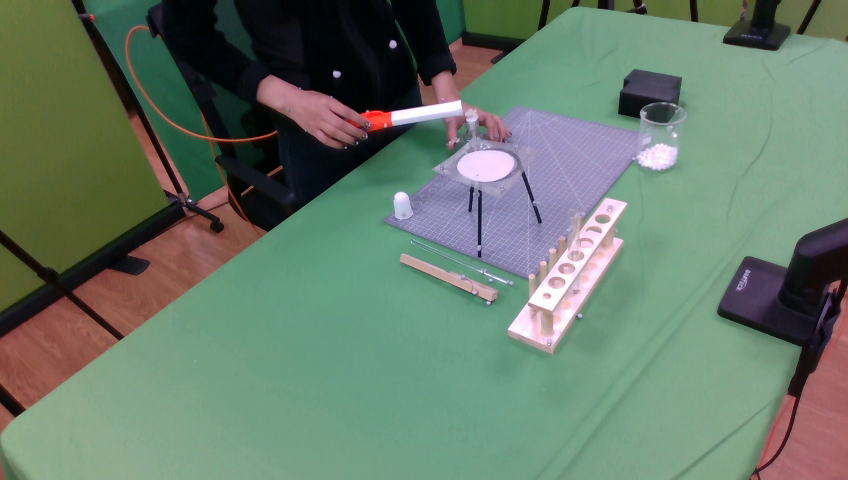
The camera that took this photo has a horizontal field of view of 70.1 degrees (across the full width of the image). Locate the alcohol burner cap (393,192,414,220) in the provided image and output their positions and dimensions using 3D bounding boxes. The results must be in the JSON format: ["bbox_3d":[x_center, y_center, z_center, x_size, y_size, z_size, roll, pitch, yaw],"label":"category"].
[{"bbox_3d":[-0.038,-0.061,1.043,0.034,0.048,0.033,-6,41,5],"label":"alcohol burner cap"}]

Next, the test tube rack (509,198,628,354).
[{"bbox_3d":[0.206,0.039,0.850,0.066,0.085,0.243,20,48,31],"label":"test tube rack"}]

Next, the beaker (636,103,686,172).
[{"bbox_3d":[0.413,-0.177,1.055,0.084,0.101,0.073,-28,44,-21],"label":"beaker"}]

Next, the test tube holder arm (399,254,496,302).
[{"bbox_3d":[0.032,0.055,0.914,0.177,0.015,0.013,21,15,32],"label":"test tube holder arm"}]

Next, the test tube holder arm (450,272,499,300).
[{"bbox_3d":[0.071,0.068,0.895,0.087,0.015,0.010,21,15,32],"label":"test tube holder arm"}]

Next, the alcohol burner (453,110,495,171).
[{"bbox_3d":[0.091,-0.187,1.112,0.078,0.119,0.077,-4,41,4],"label":"alcohol burner"}]

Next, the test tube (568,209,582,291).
[{"bbox_3d":[0.200,0.017,0.799,0.017,0.151,0.017,-8,45,8],"label":"test tube"}]

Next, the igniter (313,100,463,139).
[{"bbox_3d":[-0.068,-0.217,1.090,0.276,0.025,0.057,-8,44,7],"label":"igniter"}]

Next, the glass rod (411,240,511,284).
[{"bbox_3d":[0.053,0.033,0.946,0.198,0.008,0.008,22,50,36],"label":"glass rod"}]

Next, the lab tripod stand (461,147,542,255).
[{"bbox_3d":[0.114,-0.069,0.953,0.148,0.132,0.147,-5,38,4],"label":"lab tripod stand"}]

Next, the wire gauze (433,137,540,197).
[{"bbox_3d":[0.094,-0.116,0.907,0.124,0.011,0.122,21,47,30],"label":"wire gauze"}]
